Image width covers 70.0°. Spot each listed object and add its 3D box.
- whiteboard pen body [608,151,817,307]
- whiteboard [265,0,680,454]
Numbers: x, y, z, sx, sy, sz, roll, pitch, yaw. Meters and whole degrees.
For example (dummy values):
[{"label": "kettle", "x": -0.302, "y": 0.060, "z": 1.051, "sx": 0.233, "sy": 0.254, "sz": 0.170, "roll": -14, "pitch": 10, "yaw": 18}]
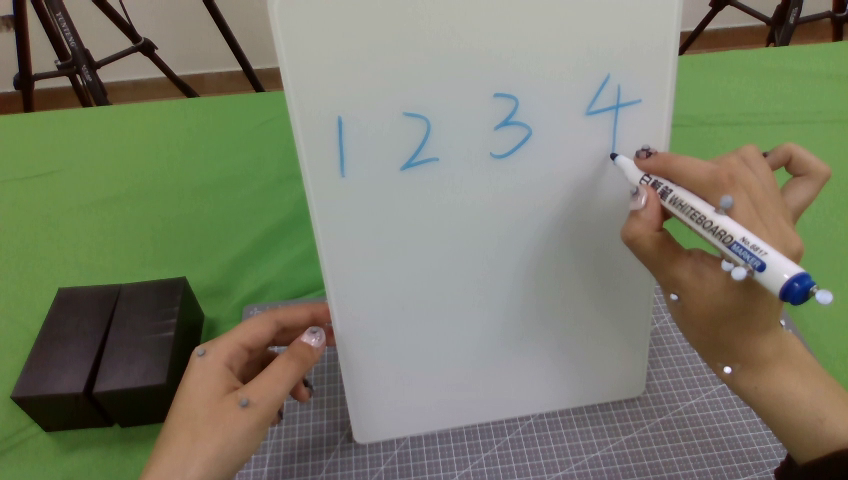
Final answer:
[{"label": "whiteboard pen body", "x": 0.133, "y": -0.014, "z": 0.303, "sx": 0.017, "sy": 0.017, "sz": 0.139, "roll": -16, "pitch": 38, "yaw": -13}, {"label": "whiteboard", "x": 0.034, "y": -0.029, "z": 0.430, "sx": 0.217, "sy": 0.308, "sz": 0.142, "roll": -8, "pitch": 27, "yaw": -4}]
